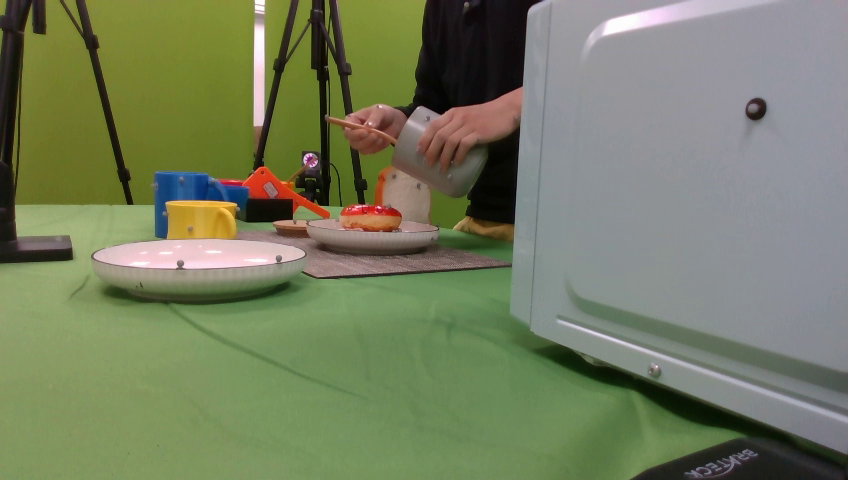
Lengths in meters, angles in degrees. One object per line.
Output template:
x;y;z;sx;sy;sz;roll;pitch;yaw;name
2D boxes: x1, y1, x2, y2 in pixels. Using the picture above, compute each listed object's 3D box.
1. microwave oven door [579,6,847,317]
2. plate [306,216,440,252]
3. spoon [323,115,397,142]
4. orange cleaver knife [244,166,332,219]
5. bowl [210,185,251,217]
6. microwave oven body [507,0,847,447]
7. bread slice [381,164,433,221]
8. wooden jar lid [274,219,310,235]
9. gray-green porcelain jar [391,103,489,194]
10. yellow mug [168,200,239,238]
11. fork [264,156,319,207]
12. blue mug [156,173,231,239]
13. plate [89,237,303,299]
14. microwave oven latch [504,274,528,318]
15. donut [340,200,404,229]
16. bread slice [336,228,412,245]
0.294;-0.067;0.570;0.358;0.243;0.039;-3;9;-31;microwave oven door
-0.079;-0.011;0.950;0.209;0.038;0.209;2;7;0;plate
-0.065;-0.164;0.948;0.194;0.021;0.041;21;3;0;spoon
-0.301;-0.089;1.351;0.212;0.077;0.012;32;-11;-34;orange cleaver knife
-0.408;-0.064;1.155;0.151;0.077;0.151;2;8;0;bowl
0.331;-0.042;0.425;0.444;0.260;0.324;-2;8;-31;microwave oven body
-0.035;-0.076;1.124;0.107;0.134;0.018;-4;0;-26;bread slice
-0.213;-0.023;1.080;0.108;0.020;0.108;3;7;0;wooden jar lid
0.029;-0.137;0.933;0.126;0.105;0.106;27;12;7;gray-green porcelain jar
-0.320;-0.023;0.904;0.130;0.064;0.100;9;11;36;yellow mug
-0.331;-0.144;1.506;0.207;0.018;0.028;-42;-20;22;fork
-0.381;-0.057;1.004;0.117;0.106;0.082;0;8;-12;blue mug
-0.233;0.029;0.637;0.208;0.039;0.207;2;7;0;plate
0.100;0.041;0.471;0.079;0.029;0.030;-1;8;-28;microwave oven latch
-0.081;-0.038;0.945;0.099;0.048;0.099;1;5;0;donut
-0.074;-0.006;0.938;0.105;0.019;0.131;-2;5;-18;bread slice
